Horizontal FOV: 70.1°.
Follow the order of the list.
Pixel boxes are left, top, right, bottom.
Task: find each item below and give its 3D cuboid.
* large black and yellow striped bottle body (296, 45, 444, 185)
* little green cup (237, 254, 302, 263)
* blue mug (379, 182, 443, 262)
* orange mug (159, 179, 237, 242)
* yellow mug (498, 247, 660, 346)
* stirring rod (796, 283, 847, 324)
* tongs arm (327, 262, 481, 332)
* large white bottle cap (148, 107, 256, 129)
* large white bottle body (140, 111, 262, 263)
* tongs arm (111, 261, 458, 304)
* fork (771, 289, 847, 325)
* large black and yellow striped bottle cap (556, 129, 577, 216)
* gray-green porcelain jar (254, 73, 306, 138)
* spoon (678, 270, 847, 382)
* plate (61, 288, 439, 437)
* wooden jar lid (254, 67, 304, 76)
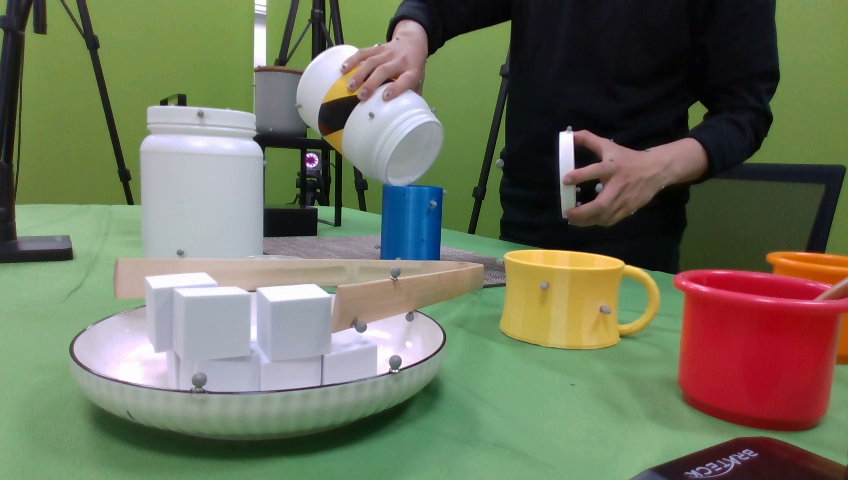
[{"bbox_3d":[-0.074,-0.169,0.836,0.183,0.130,0.131,42,26,23],"label":"large black and yellow striped bottle body"},{"bbox_3d":[-0.150,0.037,0.590,0.061,0.038,0.061,3,7,0],"label":"little green cup"},{"bbox_3d":[-0.020,-0.026,0.833,0.082,0.106,0.116,1,7,-7],"label":"blue mug"},{"bbox_3d":[-0.368,-0.052,0.991,0.127,0.101,0.083,-10,14,-41],"label":"orange mug"},{"bbox_3d":[0.130,0.045,0.508,0.131,0.064,0.100,4,7,6],"label":"yellow mug"},{"bbox_3d":[0.346,0.019,0.460,0.014,0.176,0.006,-17,59,-26],"label":"stirring rod"},{"bbox_3d":[-0.003,0.036,0.493,0.050,0.026,0.386,1,0,19],"label":"tongs arm"},{"bbox_3d":[-0.250,-0.137,0.686,0.115,0.018,0.115,3,8,0],"label":"large white bottle cap"},{"bbox_3d":[-0.254,-0.053,0.697,0.131,0.184,0.130,2,7,0],"label":"large white bottle body"},{"bbox_3d":[-0.080,0.032,0.527,0.028,0.027,0.389,-3,-3,33],"label":"tongs arm"},{"bbox_3d":[0.335,0.018,0.443,0.028,0.018,0.207,-1,-36,-20],"label":"fork"},{"bbox_3d":[0.190,-0.090,0.801,0.019,0.115,0.115,-3,6,17],"label":"large black and yellow striped bottle cap"},{"bbox_3d":[-0.298,-0.277,1.259,0.106,0.126,0.106,3,7,0],"label":"gray-green porcelain jar"},{"bbox_3d":[0.229,0.031,0.338,0.193,0.021,0.042,-44,-17,27],"label":"spoon"},{"bbox_3d":[-0.095,0.069,0.362,0.208,0.039,0.207,3,7,0],"label":"plate"},{"bbox_3d":[-0.296,-0.339,1.251,0.108,0.020,0.108,2,7,0],"label":"wooden jar lid"}]
